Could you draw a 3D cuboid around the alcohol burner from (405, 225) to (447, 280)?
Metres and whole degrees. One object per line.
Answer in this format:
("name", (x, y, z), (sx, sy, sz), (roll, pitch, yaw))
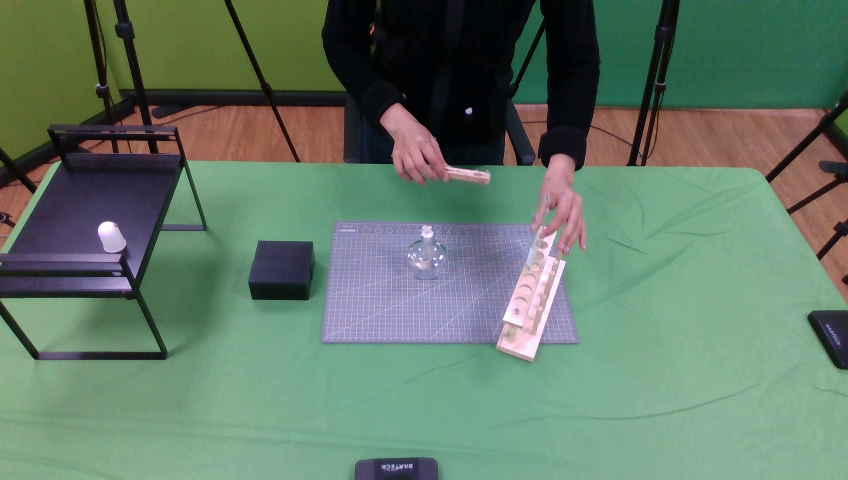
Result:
("alcohol burner", (0.005, 0.017, 1.115), (0.078, 0.120, 0.077), (1, 47, -1))

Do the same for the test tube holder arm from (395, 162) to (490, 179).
("test tube holder arm", (0.032, -0.127, 1.115), (0.178, 0.015, 0.013), (9, 51, 12))

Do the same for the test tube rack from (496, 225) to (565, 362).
("test tube rack", (0.200, 0.089, 1.081), (0.066, 0.085, 0.241), (19, 48, 13))

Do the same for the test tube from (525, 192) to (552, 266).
("test tube", (0.183, -0.014, 0.981), (0.017, 0.151, 0.017), (4, 41, -3))

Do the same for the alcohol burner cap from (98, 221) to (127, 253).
("alcohol burner cap", (-0.468, -0.007, 0.904), (0.034, 0.048, 0.033), (3, 46, -3))

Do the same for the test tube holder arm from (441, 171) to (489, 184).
("test tube holder arm", (0.075, -0.115, 1.102), (0.088, 0.015, 0.010), (9, 51, 12))
